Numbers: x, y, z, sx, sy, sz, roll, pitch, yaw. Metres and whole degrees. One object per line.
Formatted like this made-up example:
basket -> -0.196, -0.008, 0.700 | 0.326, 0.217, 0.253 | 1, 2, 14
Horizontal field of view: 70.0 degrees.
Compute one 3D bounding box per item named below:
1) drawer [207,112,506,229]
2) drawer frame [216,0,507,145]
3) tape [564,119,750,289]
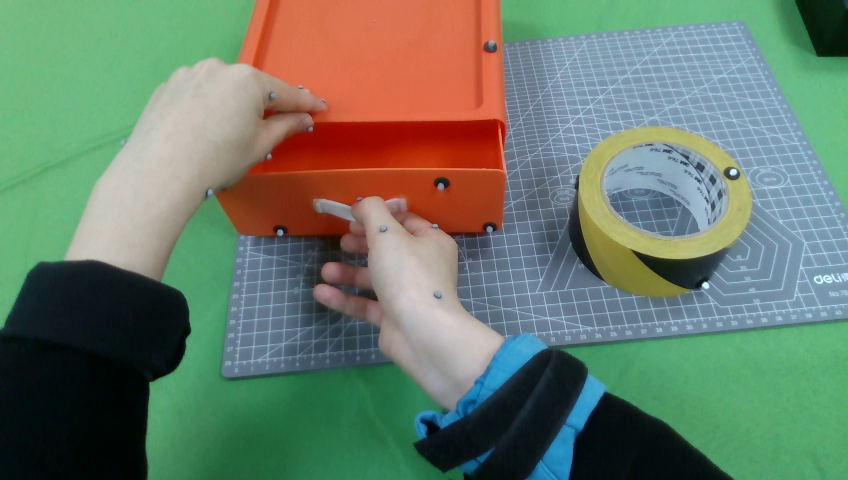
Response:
drawer -> -0.040, -0.111, 0.465 | 0.194, 0.074, 0.210 | -1, 58, 4
drawer frame -> -0.040, -0.152, 0.491 | 0.201, 0.083, 0.211 | -1, 58, 3
tape -> 0.159, -0.025, 0.420 | 0.117, 0.053, 0.116 | -2, 59, 3
